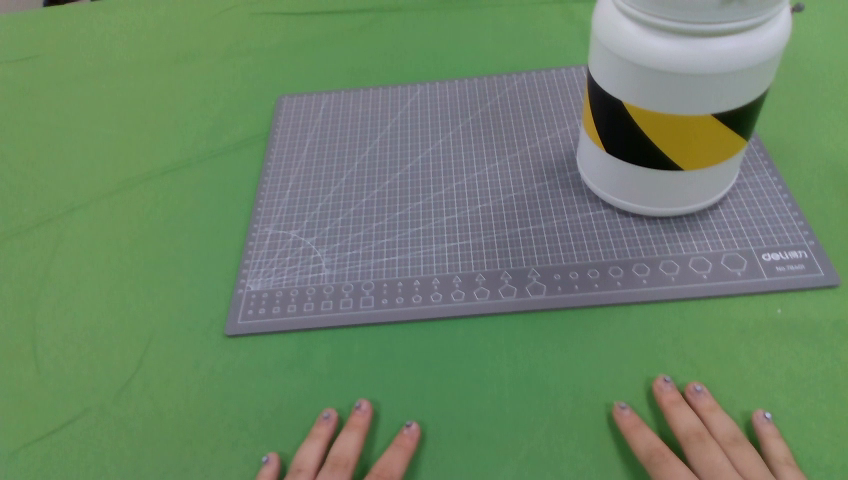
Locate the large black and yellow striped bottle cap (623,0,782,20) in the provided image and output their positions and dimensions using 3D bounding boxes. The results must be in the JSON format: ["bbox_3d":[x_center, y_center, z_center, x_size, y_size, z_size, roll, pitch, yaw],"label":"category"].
[{"bbox_3d":[0.176,-0.178,0.388,0.115,0.019,0.114,-3,49,4],"label":"large black and yellow striped bottle cap"}]

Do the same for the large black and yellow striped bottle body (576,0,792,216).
[{"bbox_3d":[0.186,-0.123,0.452,0.131,0.186,0.129,-4,49,5],"label":"large black and yellow striped bottle body"}]
